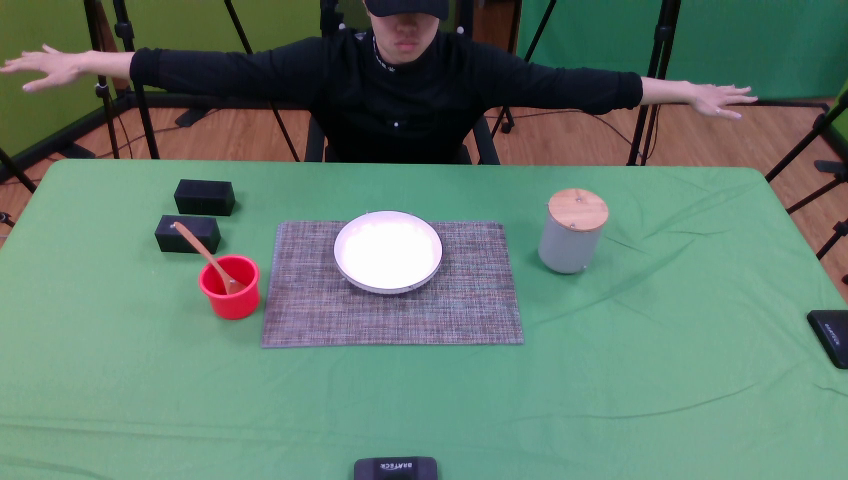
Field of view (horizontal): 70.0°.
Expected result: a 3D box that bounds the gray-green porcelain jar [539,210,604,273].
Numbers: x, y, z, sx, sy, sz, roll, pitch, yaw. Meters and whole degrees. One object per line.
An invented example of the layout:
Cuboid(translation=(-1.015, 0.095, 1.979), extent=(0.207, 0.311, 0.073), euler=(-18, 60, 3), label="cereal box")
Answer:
Cuboid(translation=(0.277, -0.007, 1.151), extent=(0.106, 0.127, 0.105), euler=(2, 46, -1), label="gray-green porcelain jar")

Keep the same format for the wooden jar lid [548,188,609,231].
Cuboid(translation=(0.280, -0.052, 1.105), extent=(0.108, 0.021, 0.107), euler=(0, 48, 0), label="wooden jar lid")

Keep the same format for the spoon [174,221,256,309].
Cuboid(translation=(-0.360, 0.043, 1.044), extent=(0.194, 0.021, 0.041), euler=(54, 52, -14), label="spoon")

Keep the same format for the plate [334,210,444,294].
Cuboid(translation=(-0.066, 0.026, 1.150), extent=(0.208, 0.039, 0.206), euler=(2, 46, -2), label="plate")
